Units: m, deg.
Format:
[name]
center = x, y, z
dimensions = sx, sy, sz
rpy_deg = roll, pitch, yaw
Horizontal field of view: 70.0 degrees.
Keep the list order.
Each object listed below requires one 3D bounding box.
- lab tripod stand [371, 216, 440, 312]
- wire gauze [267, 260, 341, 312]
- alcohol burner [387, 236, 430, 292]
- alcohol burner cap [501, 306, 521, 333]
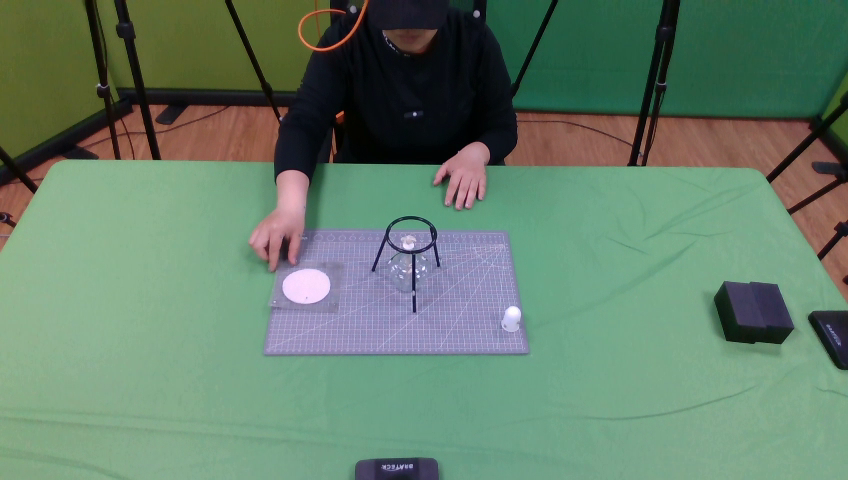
[lab tripod stand]
center = -0.029, 0.033, 1.084
dimensions = 0.148, 0.132, 0.147
rpy_deg = 1, 47, -1
[wire gauze]
center = -0.218, 0.081, 1.110
dimensions = 0.125, 0.011, 0.120
rpy_deg = 3, 43, -2
[alcohol burner]
center = -0.028, 0.038, 1.093
dimensions = 0.078, 0.120, 0.077
rpy_deg = 1, 46, -1
[alcohol burner cap]
center = 0.155, 0.137, 1.061
dimensions = 0.034, 0.048, 0.033
rpy_deg = 2, 45, -1
